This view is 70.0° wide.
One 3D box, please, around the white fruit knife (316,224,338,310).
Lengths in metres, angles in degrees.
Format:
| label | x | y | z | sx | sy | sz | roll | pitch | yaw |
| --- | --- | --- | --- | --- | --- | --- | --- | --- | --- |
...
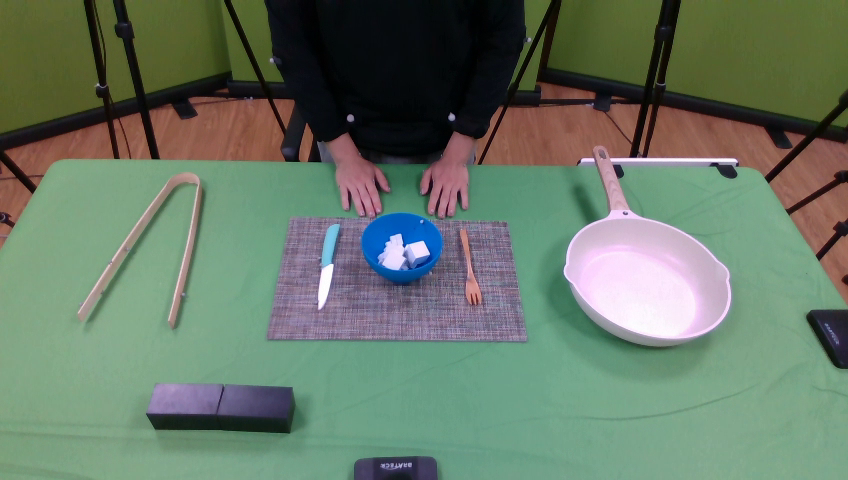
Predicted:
| label | x | y | z | sx | sy | sz | roll | pitch | yaw |
| --- | --- | --- | --- | --- | --- | --- | --- | --- | --- |
| white fruit knife | -0.185 | 0.047 | 1.137 | 0.027 | 0.016 | 0.206 | -5 | 47 | 6 |

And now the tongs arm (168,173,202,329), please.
| label | x | y | z | sx | sy | sz | roll | pitch | yaw |
| --- | --- | --- | --- | --- | --- | --- | --- | --- | --- |
| tongs arm | -0.454 | 0.006 | 1.153 | 0.028 | 0.028 | 0.385 | -5 | 47 | -6 |

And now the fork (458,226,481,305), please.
| label | x | y | z | sx | sy | sz | roll | pitch | yaw |
| --- | --- | --- | --- | --- | --- | --- | --- | --- | --- |
| fork | 0.083 | 0.044 | 1.158 | 0.028 | 0.019 | 0.206 | -8 | 48 | 1 |

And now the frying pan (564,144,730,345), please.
| label | x | y | z | sx | sy | sz | roll | pitch | yaw |
| --- | --- | --- | --- | --- | --- | --- | --- | --- | --- |
| frying pan | 0.396 | -0.008 | 1.179 | 0.307 | 0.103 | 0.484 | 0 | 55 | -5 |

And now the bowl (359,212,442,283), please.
| label | x | y | z | sx | sy | sz | roll | pitch | yaw |
| --- | --- | --- | --- | --- | --- | --- | --- | --- | --- |
| bowl | -0.044 | 0.026 | 1.125 | 0.151 | 0.077 | 0.150 | 2 | 46 | -2 |

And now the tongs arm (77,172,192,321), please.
| label | x | y | z | sx | sy | sz | roll | pitch | yaw |
| --- | --- | --- | --- | --- | --- | --- | --- | --- | --- |
| tongs arm | -0.535 | -0.002 | 1.147 | 0.051 | 0.026 | 0.382 | 7 | 45 | 1 |
